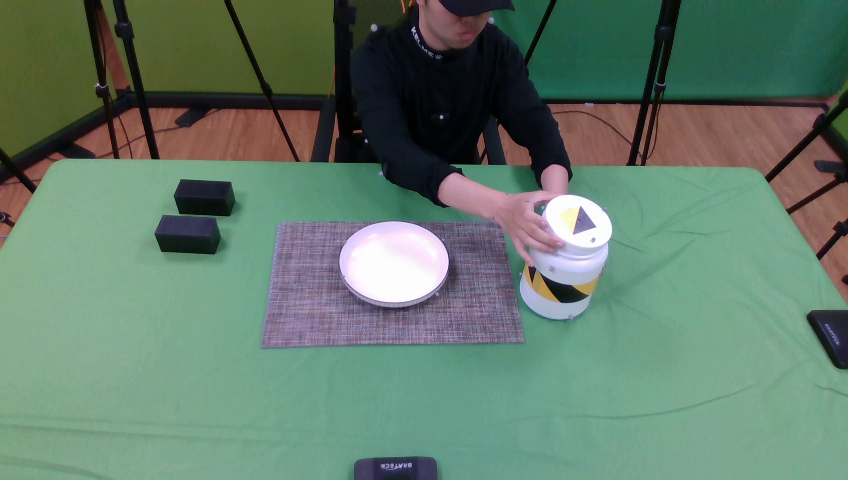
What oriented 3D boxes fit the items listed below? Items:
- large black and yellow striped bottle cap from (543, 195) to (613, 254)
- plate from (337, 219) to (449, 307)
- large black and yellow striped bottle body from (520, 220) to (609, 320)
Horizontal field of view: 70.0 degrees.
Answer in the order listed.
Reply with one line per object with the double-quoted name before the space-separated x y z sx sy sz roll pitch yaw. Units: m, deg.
"large black and yellow striped bottle cap" 0.252 -0.028 0.994 0.115 0.019 0.114 7 50 -8
"plate" -0.057 0.045 1.132 0.208 0.039 0.206 2 46 -2
"large black and yellow striped bottle body" 0.247 0.038 1.065 0.131 0.185 0.130 2 46 -2
